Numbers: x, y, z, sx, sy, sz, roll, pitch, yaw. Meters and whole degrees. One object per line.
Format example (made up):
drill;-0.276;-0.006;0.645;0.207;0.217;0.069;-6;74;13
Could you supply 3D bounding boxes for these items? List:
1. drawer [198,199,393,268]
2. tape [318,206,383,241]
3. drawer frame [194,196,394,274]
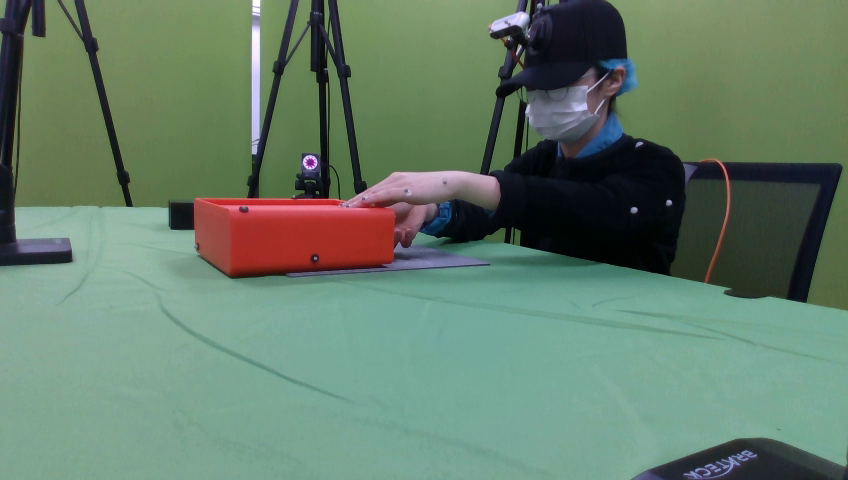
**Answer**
drawer;-0.177;-0.014;0.817;0.213;0.073;0.193;-3;9;-31
tape;-0.129;-0.030;1.075;0.117;0.052;0.117;3;8;0
drawer frame;-0.178;-0.014;0.815;0.215;0.082;0.200;-4;9;-32
